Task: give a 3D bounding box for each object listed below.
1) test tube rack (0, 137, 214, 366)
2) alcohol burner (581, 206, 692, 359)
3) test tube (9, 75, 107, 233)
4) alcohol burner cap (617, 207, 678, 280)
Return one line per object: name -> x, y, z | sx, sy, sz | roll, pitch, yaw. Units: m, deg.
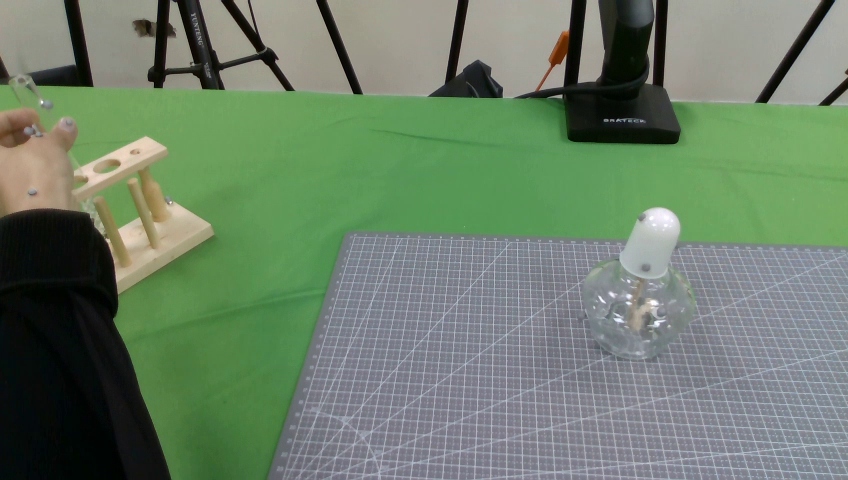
test tube rack -> -0.302, 0.013, 0.493 | 0.066, 0.086, 0.242 | 28, 49, 30
alcohol burner -> 0.152, 0.027, 0.428 | 0.078, 0.120, 0.077 | -2, 39, 2
test tube -> -0.289, -0.062, 0.489 | 0.017, 0.151, 0.017 | -2, 44, 2
alcohol burner cap -> 0.151, 0.001, 0.404 | 0.034, 0.048, 0.033 | 3, 42, -2
